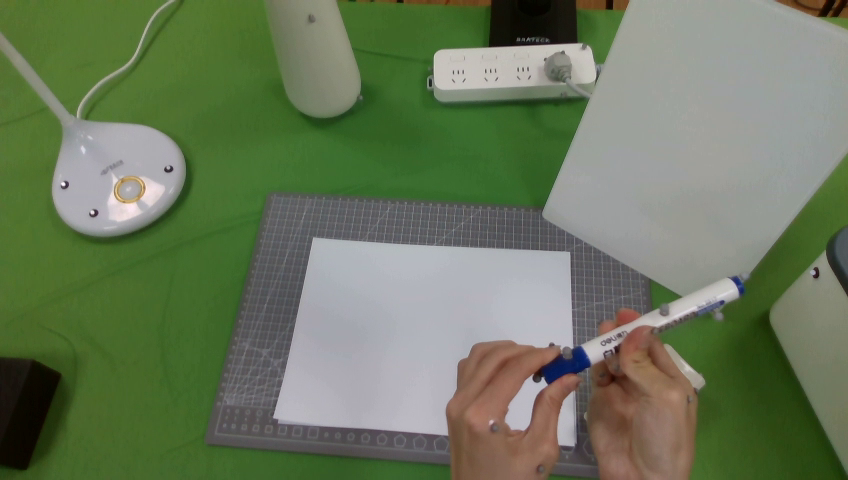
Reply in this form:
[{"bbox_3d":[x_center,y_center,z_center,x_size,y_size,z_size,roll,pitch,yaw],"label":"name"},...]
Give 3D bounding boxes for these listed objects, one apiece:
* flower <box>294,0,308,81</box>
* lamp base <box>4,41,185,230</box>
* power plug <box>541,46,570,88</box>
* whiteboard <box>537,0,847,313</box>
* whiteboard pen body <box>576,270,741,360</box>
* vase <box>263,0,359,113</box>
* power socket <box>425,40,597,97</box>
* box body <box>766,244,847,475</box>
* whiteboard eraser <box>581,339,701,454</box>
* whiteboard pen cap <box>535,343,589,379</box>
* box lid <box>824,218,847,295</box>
[{"bbox_3d":[-0.122,-0.273,0.644,0.044,0.362,0.038,-36,84,-24],"label":"flower"},{"bbox_3d":[-0.388,-0.125,0.680,0.178,0.182,0.160,34,69,21],"label":"lamp base"},{"bbox_3d":[0.164,-0.210,0.761,0.035,0.053,0.072,8,70,6],"label":"power plug"},{"bbox_3d":[0.284,-0.115,0.615,0.216,0.307,0.143,33,48,18],"label":"whiteboard"},{"bbox_3d":[0.147,0.056,0.406,0.141,0.017,0.017,-25,64,-1],"label":"whiteboard pen body"},{"bbox_3d":[-0.138,-0.244,0.722,0.098,0.201,0.097,-1,62,3],"label":"vase"},{"bbox_3d":[0.114,-0.225,0.796,0.227,0.033,0.071,-1,64,1],"label":"power socket"},{"bbox_3d":[0.505,0.153,0.515,0.254,0.161,0.360,-13,63,-4],"label":"box body"},{"bbox_3d":[0.211,0.151,0.591,0.112,0.042,0.055,-36,66,-15],"label":"whiteboard eraser"},{"bbox_3d":[0.092,0.080,0.406,0.033,0.018,0.018,-20,63,1],"label":"whiteboard pen cap"},{"bbox_3d":[0.501,0.116,0.449,0.263,0.015,0.368,-13,63,-4],"label":"box lid"}]
